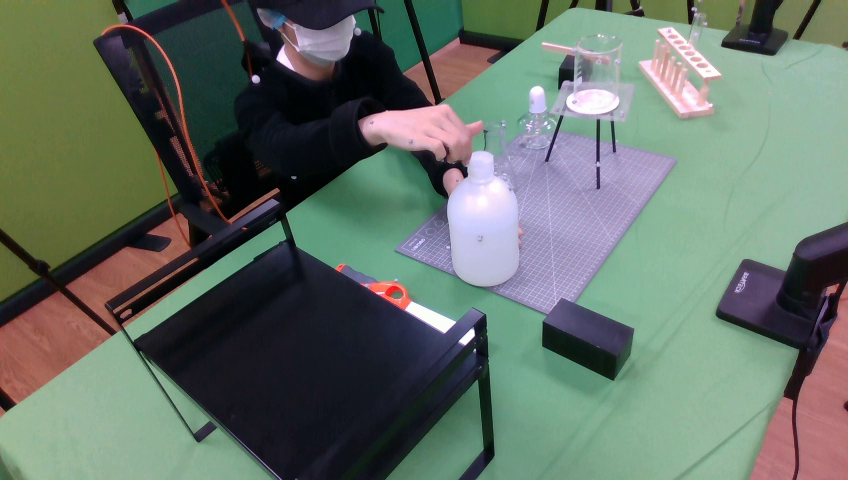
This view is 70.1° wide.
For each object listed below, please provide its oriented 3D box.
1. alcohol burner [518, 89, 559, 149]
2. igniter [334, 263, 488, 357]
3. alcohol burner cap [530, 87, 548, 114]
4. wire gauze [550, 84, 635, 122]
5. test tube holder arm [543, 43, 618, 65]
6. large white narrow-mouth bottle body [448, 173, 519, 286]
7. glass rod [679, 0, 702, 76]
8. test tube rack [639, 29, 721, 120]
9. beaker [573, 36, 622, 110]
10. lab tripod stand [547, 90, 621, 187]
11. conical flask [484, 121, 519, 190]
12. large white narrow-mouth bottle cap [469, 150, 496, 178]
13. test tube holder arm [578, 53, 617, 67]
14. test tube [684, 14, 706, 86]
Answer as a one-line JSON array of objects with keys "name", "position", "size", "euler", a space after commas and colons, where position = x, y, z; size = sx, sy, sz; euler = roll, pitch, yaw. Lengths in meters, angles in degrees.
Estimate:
[{"name": "alcohol burner", "position": [0.218, -0.235, 1.149], "size": [0.078, 0.119, 0.077], "euler": [-5, 43, 5]}, {"name": "igniter", "position": [-0.030, 0.095, 0.872], "size": [0.274, 0.025, 0.057], "euler": [23, 60, 31]}, {"name": "alcohol burner cap", "position": [0.212, -0.262, 1.126], "size": [0.034, 0.048, 0.033], "euler": [-8, 36, 7]}, {"name": "wire gauze", "position": [0.285, -0.234, 1.021], "size": [0.124, 0.011, 0.121], "euler": [8, 41, 23]}, {"name": "test tube holder arm", "position": [0.345, -0.413, 1.341], "size": [0.177, 0.015, 0.013], "euler": [25, 50, 32]}, {"name": "large white narrow-mouth bottle body", "position": [0.086, -0.032, 0.868], "size": [0.102, 0.195, 0.101], "euler": [-4, 40, 4]}, {"name": "glass rod", "position": [0.543, -0.417, 1.233], "size": [0.008, 0.200, 0.008], "euler": [1, 39, 0]}, {"name": "test tube rack", "position": [0.527, -0.351, 1.262], "size": [0.067, 0.085, 0.241], "euler": [-8, 40, 1]}, {"name": "beaker", "position": [0.284, -0.273, 0.990], "size": [0.073, 0.101, 0.084], "euler": [16, 46, 28]}, {"name": "lab tripod stand", "position": [0.289, -0.184, 1.062], "size": [0.148, 0.132, 0.147], "euler": [-6, 41, 6]}, {"name": "conical flask", "position": [0.126, -0.145, 1.051], "size": [0.075, 0.122, 0.075], "euler": [-5, 41, 5]}, {"name": "large white narrow-mouth bottle cap", "position": [0.077, -0.101, 0.809], "size": [0.038, 0.024, 0.037], "euler": [-4, 40, 4]}, {"name": "test tube holder arm", "position": [0.376, -0.393, 1.314], "size": [0.087, 0.015, 0.010], "euler": [26, 50, 32]}, {"name": "test tube", "position": [0.540, -0.378, 1.215], "size": [0.017, 0.151, 0.017], "euler": [-2, 44, 3]}]
